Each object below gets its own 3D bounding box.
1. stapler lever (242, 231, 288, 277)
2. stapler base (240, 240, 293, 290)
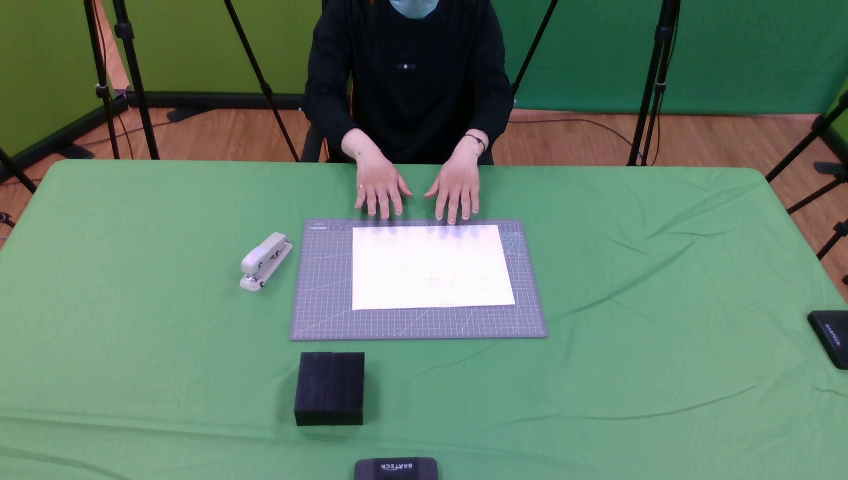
[{"bbox_3d":[-0.294,0.019,1.118,0.027,0.040,0.117,20,46,11],"label":"stapler lever"},{"bbox_3d":[-0.296,0.038,1.135,0.041,0.024,0.130,20,47,11],"label":"stapler base"}]
